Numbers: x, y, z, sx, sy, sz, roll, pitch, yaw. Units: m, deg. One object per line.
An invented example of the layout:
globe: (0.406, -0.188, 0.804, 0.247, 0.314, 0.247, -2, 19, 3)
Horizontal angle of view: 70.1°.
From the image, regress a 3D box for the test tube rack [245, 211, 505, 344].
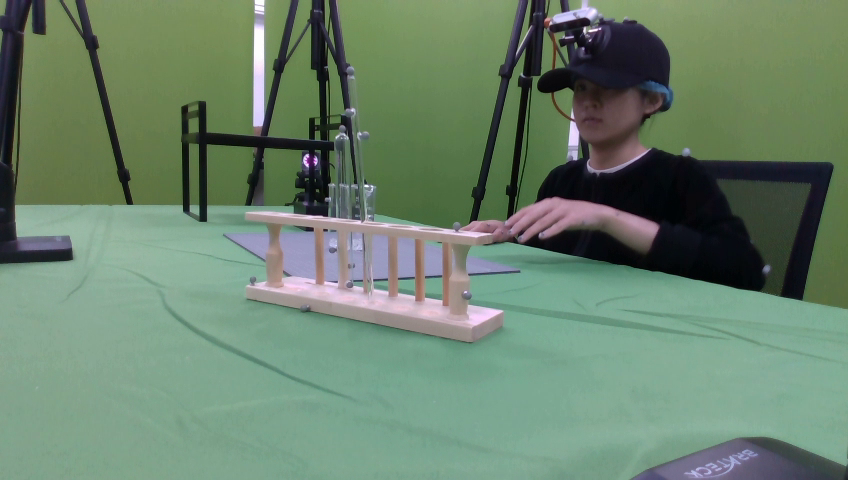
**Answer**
test tube rack: (-0.049, 0.025, 0.547, 0.241, 0.085, 0.067, 7, 8, 29)

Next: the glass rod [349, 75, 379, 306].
glass rod: (-0.050, -0.037, 0.511, 0.008, 0.199, 0.008, -4, 10, 1)

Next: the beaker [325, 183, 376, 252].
beaker: (-0.110, -0.034, 0.920, 0.083, 0.100, 0.074, 11, 11, 43)

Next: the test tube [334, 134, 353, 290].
test tube: (-0.077, -0.026, 0.579, 0.017, 0.150, 0.017, 0, 7, 0)
